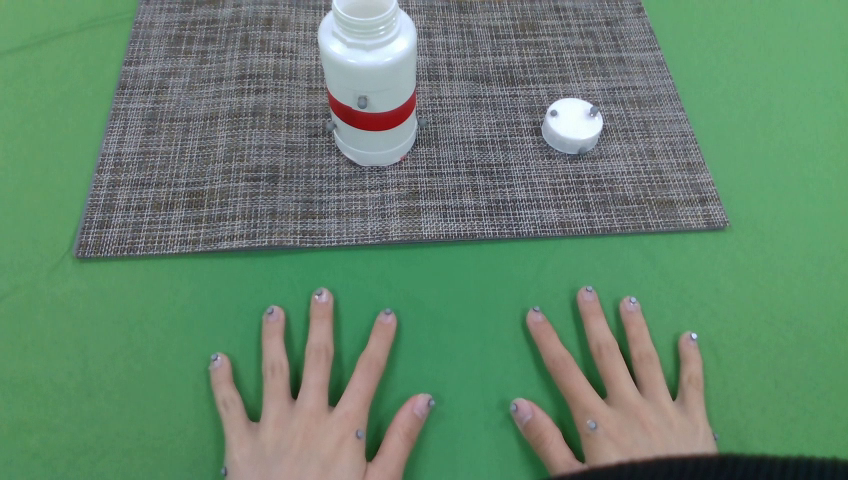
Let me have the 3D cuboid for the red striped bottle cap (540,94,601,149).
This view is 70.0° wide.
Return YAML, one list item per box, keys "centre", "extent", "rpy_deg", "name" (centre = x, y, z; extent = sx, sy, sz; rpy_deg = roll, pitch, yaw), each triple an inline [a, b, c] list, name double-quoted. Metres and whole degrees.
- centre: [0.112, -0.092, 0.465]
  extent: [0.044, 0.018, 0.044]
  rpy_deg: [1, 56, -1]
  name: "red striped bottle cap"

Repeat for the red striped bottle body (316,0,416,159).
- centre: [-0.037, -0.115, 0.410]
  extent: [0.063, 0.120, 0.062]
  rpy_deg: [1, 59, -1]
  name: "red striped bottle body"
